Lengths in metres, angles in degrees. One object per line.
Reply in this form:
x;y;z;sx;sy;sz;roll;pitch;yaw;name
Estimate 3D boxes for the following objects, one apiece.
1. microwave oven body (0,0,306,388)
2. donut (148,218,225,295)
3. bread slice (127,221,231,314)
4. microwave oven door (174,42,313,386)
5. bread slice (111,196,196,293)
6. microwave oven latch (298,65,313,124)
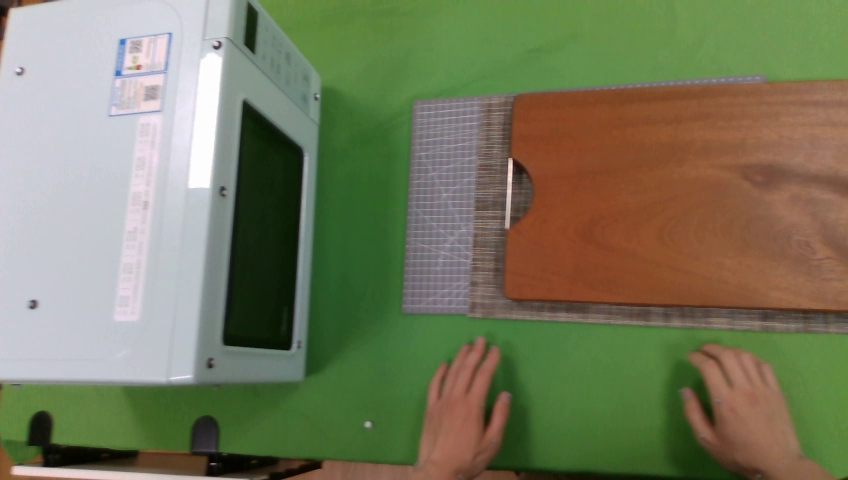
-0.340;-0.044;0.759;0.325;0.262;0.439;-3;79;13;microwave oven body
-0.303;0.021;0.771;0.099;0.048;0.099;0;95;4;donut
-0.330;0.031;0.801;0.131;0.019;0.104;15;86;11;bread slice
-0.199;-0.011;0.713;0.039;0.245;0.354;-3;78;14;microwave oven door
-0.326;0.014;0.729;0.134;0.018;0.106;-13;77;25;bread slice
-0.172;-0.204;0.852;0.030;0.030;0.079;-3;79;13;microwave oven latch
